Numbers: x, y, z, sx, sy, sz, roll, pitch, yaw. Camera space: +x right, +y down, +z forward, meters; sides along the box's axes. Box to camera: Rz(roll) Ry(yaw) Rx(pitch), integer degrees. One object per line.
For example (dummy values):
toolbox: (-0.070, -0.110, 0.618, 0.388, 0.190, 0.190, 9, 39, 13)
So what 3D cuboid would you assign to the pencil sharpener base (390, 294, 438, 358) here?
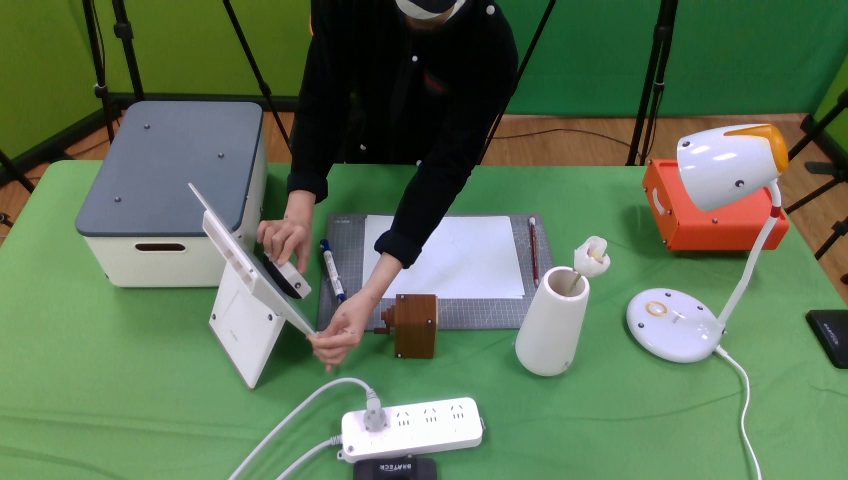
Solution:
pencil sharpener base: (-0.018, 0.143, 1.000, 0.077, 0.107, 0.061, 1, 46, -2)

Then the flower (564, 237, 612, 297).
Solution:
flower: (0.206, 0.088, 0.893, 0.038, 0.363, 0.044, -16, 67, -9)

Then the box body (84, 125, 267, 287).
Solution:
box body: (-0.446, -0.088, 1.150, 0.254, 0.161, 0.361, -1, 46, -5)

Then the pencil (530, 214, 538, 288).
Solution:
pencil: (0.218, 0.019, 1.201, 0.012, 0.012, 0.193, 5, 48, 1)

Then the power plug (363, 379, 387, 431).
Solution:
power plug: (-0.072, 0.252, 0.910, 0.035, 0.053, 0.072, 3, 45, -1)

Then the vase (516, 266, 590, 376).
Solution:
vase: (0.208, 0.132, 0.964, 0.098, 0.201, 0.097, 3, 46, -3)

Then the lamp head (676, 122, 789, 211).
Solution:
lamp head: (0.423, -0.104, 0.819, 0.122, 0.113, 0.112, -13, 33, 40)

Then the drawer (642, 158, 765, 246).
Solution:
drawer: (0.565, -0.076, 1.211, 0.212, 0.073, 0.193, 2, 45, -2)

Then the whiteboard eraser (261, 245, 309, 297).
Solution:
whiteboard eraser: (-0.238, 0.053, 1.020, 0.042, 0.056, 0.112, -42, 39, -9)

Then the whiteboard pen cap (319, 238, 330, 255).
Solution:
whiteboard pen cap: (-0.190, 0.013, 1.162, 0.018, 0.018, 0.033, -12, 50, -15)

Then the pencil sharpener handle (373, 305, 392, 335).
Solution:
pencil sharpener handle: (-0.068, 0.133, 0.989, 0.030, 0.068, 0.036, 1, 46, -2)

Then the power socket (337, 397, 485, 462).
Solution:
power socket: (-0.018, 0.285, 0.915, 0.227, 0.033, 0.071, -5, 46, -8)

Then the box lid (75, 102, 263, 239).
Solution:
box lid: (-0.443, -0.138, 1.094, 0.263, 0.015, 0.369, -1, 47, -5)

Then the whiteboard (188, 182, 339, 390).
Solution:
whiteboard: (-0.292, 0.096, 0.929, 0.144, 0.307, 0.216, -38, 57, -10)

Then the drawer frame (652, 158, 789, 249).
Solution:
drawer frame: (0.571, -0.075, 1.214, 0.214, 0.083, 0.200, 0, 46, -1)

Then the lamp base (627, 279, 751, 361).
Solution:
lamp base: (0.459, 0.100, 1.027, 0.178, 0.181, 0.160, 27, 51, 17)
